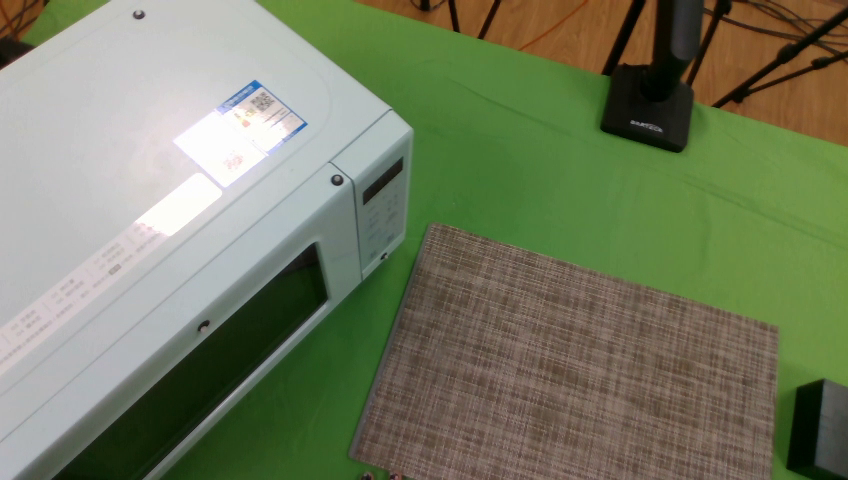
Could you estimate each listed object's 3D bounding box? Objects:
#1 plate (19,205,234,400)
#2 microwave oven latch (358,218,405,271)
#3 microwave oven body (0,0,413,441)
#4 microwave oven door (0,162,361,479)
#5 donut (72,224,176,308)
[{"bbox_3d":[-0.294,0.062,0.615,0.209,0.038,0.207,-1,63,2],"label":"plate"},{"bbox_3d":[-0.057,-0.001,0.722,0.030,0.029,0.079,41,70,12],"label":"microwave oven latch"},{"bbox_3d":[-0.279,-0.016,0.604,0.324,0.261,0.441,40,70,12],"label":"microwave oven body"},{"bbox_3d":[-0.197,0.102,0.554,0.039,0.245,0.355,40,69,13],"label":"microwave oven door"},{"bbox_3d":[-0.311,0.027,0.632,0.099,0.048,0.098,6,51,-7],"label":"donut"}]
